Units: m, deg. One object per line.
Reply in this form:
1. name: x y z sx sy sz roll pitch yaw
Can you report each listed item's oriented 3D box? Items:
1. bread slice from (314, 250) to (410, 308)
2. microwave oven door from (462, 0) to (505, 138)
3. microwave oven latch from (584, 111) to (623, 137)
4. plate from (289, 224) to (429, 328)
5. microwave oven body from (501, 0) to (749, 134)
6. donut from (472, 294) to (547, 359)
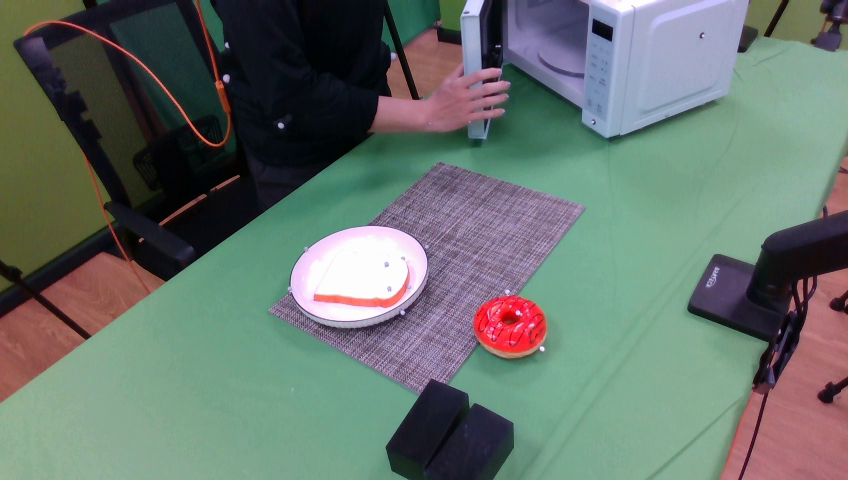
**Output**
1. bread slice: -0.087 0.057 0.900 0.131 0.019 0.104 5 43 15
2. microwave oven door: 0.127 -0.404 1.227 0.039 0.245 0.355 2 42 13
3. microwave oven latch: 0.337 -0.222 1.142 0.030 0.029 0.078 -21 42 -14
4. plate: -0.094 0.055 0.902 0.207 0.039 0.206 -4 41 4
5. microwave oven body: 0.382 -0.445 1.246 0.327 0.261 0.437 -22 42 -16
6. donut: 0.114 0.114 0.803 0.099 0.048 0.098 0 40 1
